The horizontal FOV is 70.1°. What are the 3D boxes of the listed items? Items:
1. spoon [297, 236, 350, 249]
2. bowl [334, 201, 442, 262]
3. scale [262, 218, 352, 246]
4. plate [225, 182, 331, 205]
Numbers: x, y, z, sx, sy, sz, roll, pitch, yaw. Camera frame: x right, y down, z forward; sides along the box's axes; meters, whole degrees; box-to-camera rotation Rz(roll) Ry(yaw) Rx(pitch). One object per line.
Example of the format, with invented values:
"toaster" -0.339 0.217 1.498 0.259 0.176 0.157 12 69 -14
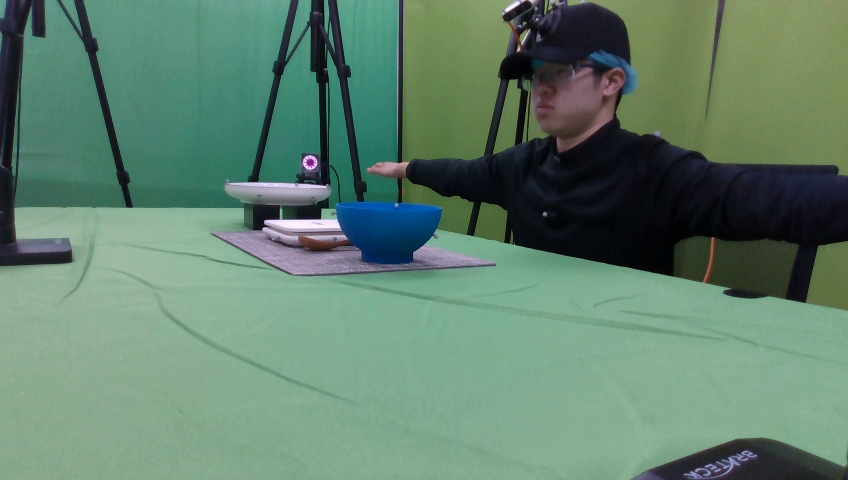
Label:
"spoon" -0.103 0.002 0.943 0.195 0.021 0.041 -2 -7 -30
"bowl" -0.051 -0.012 0.848 0.151 0.077 0.151 2 7 0
"scale" -0.160 -0.016 1.028 0.202 0.031 0.148 -2 9 -32
"plate" -0.294 -0.096 1.229 0.209 0.038 0.209 3 7 0
